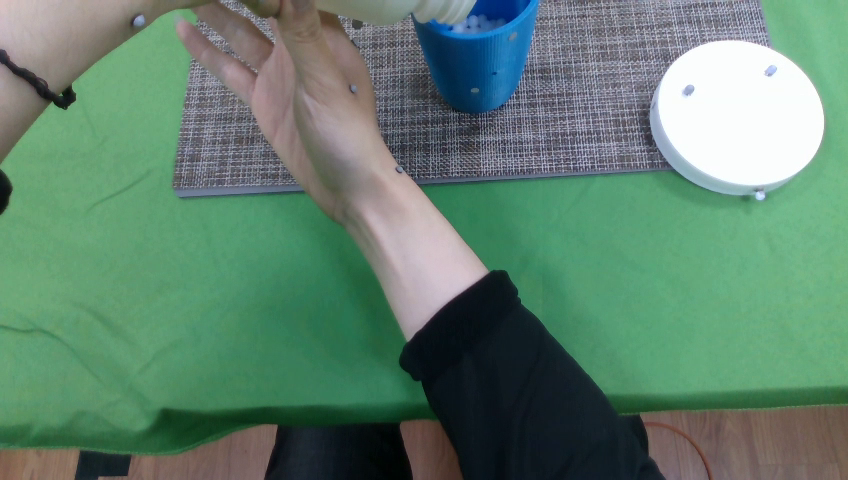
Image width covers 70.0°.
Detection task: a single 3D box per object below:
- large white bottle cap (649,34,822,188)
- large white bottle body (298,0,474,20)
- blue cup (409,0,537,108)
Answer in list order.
[{"bbox_3d":[0.219,-0.092,0.427,0.115,0.018,0.114,0,73,1],"label":"large white bottle cap"},{"bbox_3d":[-0.057,-0.186,0.295,0.185,0.131,0.130,9,70,-14],"label":"large white bottle body"},{"bbox_3d":[0.034,-0.143,0.415,0.092,0.101,0.092,-2,69,6],"label":"blue cup"}]
